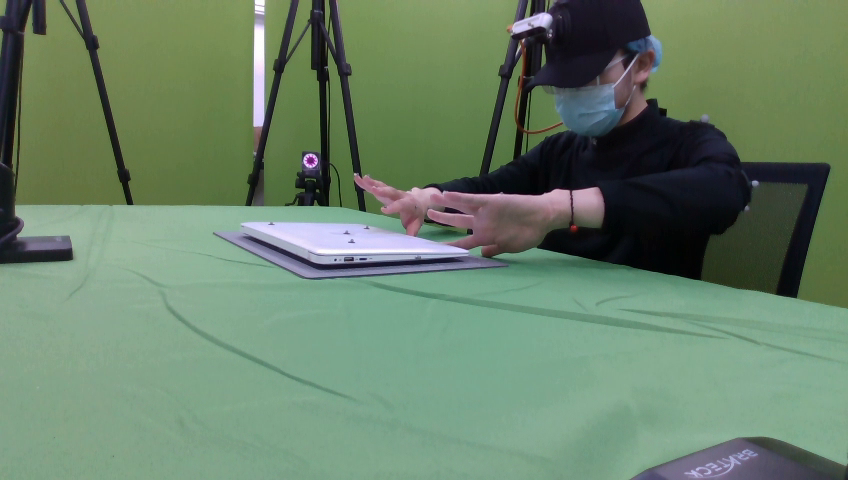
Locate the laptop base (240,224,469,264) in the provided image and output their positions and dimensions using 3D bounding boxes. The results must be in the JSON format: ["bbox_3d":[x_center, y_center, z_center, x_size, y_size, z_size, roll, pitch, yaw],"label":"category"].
[{"bbox_3d":[-0.123,0.005,0.936,0.237,0.023,0.352,2,6,-33],"label":"laptop base"}]

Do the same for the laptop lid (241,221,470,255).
[{"bbox_3d":[-0.121,-0.007,0.936,0.243,0.013,0.355,1,7,-31],"label":"laptop lid"}]
